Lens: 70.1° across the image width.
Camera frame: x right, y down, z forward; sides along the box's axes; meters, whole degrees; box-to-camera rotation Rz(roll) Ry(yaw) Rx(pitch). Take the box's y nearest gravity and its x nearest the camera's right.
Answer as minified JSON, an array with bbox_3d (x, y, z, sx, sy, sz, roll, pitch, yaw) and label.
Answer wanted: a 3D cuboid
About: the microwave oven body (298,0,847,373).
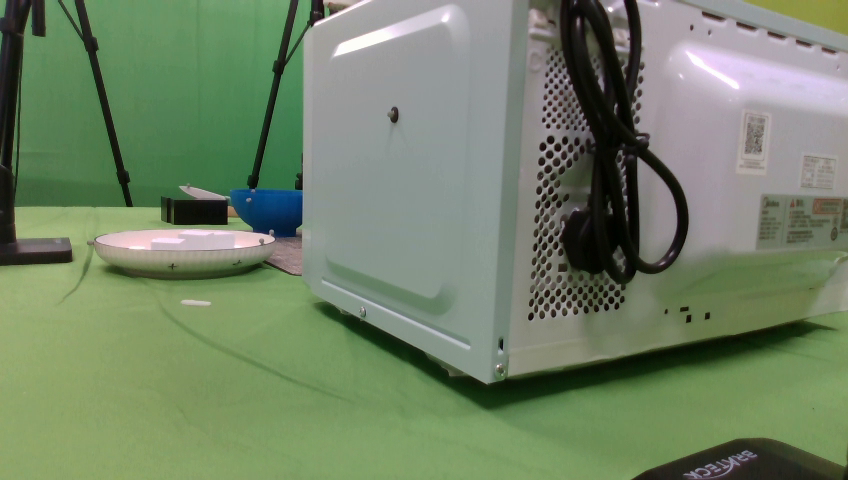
[{"bbox_3d":[0.151,-0.055,0.542,0.444,0.260,0.324,-2,7,-33],"label":"microwave oven body"}]

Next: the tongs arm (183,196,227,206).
[{"bbox_3d":[-0.404,-0.081,1.479,0.385,0.026,0.050,3,8,-2],"label":"tongs arm"}]

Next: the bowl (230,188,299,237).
[{"bbox_3d":[-0.264,-0.048,1.065,0.151,0.077,0.151,3,8,0],"label":"bowl"}]

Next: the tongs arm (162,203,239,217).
[{"bbox_3d":[-0.396,-0.066,1.399,0.389,0.028,0.028,1,5,-15],"label":"tongs arm"}]

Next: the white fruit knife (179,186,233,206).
[{"bbox_3d":[-0.413,-0.081,1.270,0.208,0.027,0.016,17,13,-41],"label":"white fruit knife"}]

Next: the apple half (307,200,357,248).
[{"bbox_3d":[-0.135,-0.024,0.941,0.053,0.074,0.081,13,9,39],"label":"apple half"}]

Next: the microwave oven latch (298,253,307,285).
[{"bbox_3d":[-0.082,0.027,0.583,0.079,0.029,0.030,-2,8,-34],"label":"microwave oven latch"}]

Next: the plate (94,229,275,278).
[{"bbox_3d":[-0.291,0.016,0.750,0.208,0.039,0.207,2,7,0],"label":"plate"}]

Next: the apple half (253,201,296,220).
[{"bbox_3d":[-0.264,-0.053,1.067,0.081,0.033,0.081,2,8,0],"label":"apple half"}]

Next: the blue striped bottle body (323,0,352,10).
[{"bbox_3d":[-0.123,-0.425,0.953,0.063,0.120,0.063,7,9,-1],"label":"blue striped bottle body"}]

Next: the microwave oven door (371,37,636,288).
[{"bbox_3d":[0.109,-0.080,0.686,0.358,0.243,0.039,-2,9,-33],"label":"microwave oven door"}]
